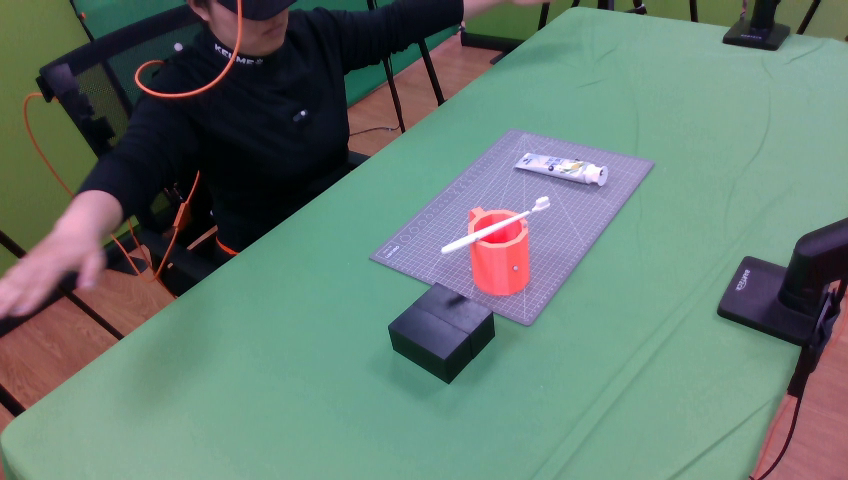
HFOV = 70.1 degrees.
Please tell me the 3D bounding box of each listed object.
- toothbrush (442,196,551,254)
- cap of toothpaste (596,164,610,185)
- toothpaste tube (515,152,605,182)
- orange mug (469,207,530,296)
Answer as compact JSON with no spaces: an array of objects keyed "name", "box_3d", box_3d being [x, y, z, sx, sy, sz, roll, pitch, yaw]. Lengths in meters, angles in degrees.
[{"name":"toothbrush","box_3d":[0.104,-0.021,0.846,0.182,0.017,0.014,-25,48,-18]},{"name":"cap of toothpaste","box_3d":[0.307,-0.113,1.041,0.011,0.037,0.037,20,48,39]},{"name":"toothpaste tube","box_3d":[0.248,-0.133,1.087,0.164,0.034,0.055,17,42,35]},{"name":"orange mug","box_3d":[0.104,0.008,0.894,0.084,0.101,0.125,-22,46,-14]}]
